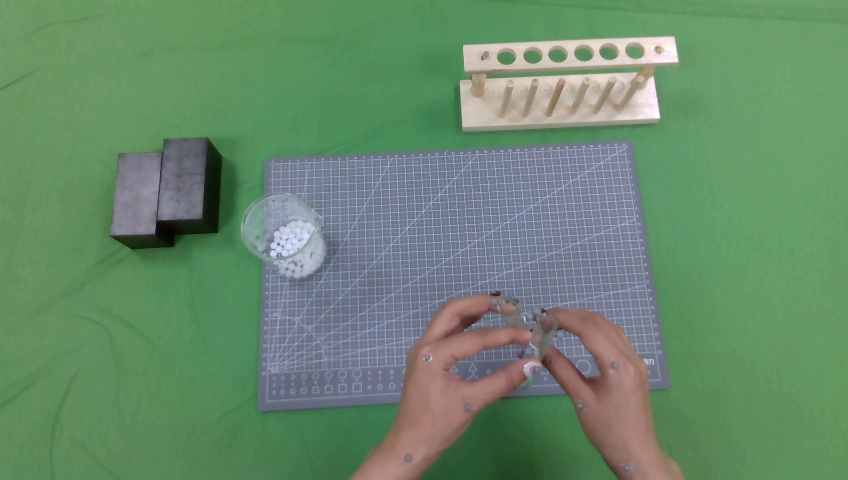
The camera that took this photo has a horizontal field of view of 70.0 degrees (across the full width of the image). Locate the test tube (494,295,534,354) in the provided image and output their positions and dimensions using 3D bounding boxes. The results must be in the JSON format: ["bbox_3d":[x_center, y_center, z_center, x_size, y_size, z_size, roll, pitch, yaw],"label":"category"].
[{"bbox_3d":[0.079,0.075,0.514,0.017,0.152,0.017,-6,67,14],"label":"test tube"}]

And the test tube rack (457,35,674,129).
[{"bbox_3d":[0.163,-0.187,0.724,0.242,0.085,0.066,-2,74,-1],"label":"test tube rack"}]

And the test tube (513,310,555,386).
[{"bbox_3d":[0.085,0.091,0.482,0.017,0.151,0.017,-1,61,2],"label":"test tube"}]

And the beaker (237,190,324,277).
[{"bbox_3d":[-0.148,-0.003,0.661,0.084,0.101,0.073,-10,74,-3],"label":"beaker"}]
